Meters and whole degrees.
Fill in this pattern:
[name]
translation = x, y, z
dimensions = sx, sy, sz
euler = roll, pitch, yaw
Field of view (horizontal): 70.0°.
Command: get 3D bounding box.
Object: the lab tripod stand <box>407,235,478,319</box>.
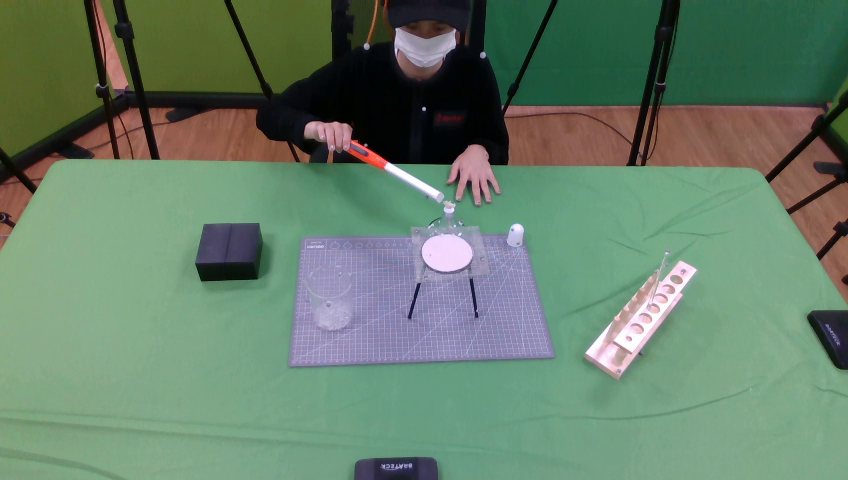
[lab tripod stand]
translation = 0.032, 0.065, 1.057
dimensions = 0.148, 0.132, 0.147
euler = 1, 45, -1

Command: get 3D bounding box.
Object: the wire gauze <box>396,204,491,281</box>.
[wire gauze]
translation = 0.032, 0.004, 0.999
dimensions = 0.125, 0.011, 0.120
euler = -22, 54, -14

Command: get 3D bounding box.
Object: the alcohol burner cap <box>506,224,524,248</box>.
[alcohol burner cap]
translation = 0.183, -0.010, 1.206
dimensions = 0.034, 0.048, 0.033
euler = 1, 46, -1

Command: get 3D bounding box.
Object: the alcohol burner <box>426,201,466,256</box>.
[alcohol burner]
translation = 0.043, -0.026, 1.160
dimensions = 0.078, 0.120, 0.077
euler = 1, 47, -1

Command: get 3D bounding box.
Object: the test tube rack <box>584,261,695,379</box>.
[test tube rack]
translation = 0.380, 0.127, 1.062
dimensions = 0.066, 0.085, 0.242
euler = 34, 53, 26

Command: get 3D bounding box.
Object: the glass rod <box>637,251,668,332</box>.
[glass rod]
translation = 0.378, 0.090, 1.005
dimensions = 0.008, 0.201, 0.008
euler = -1, 44, 1

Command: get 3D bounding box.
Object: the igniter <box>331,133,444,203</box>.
[igniter]
translation = -0.078, -0.143, 1.170
dimensions = 0.275, 0.057, 0.025
euler = 31, 85, 24

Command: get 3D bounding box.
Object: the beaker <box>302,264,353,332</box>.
[beaker]
translation = -0.162, 0.101, 1.030
dimensions = 0.084, 0.101, 0.073
euler = 4, 46, 0
